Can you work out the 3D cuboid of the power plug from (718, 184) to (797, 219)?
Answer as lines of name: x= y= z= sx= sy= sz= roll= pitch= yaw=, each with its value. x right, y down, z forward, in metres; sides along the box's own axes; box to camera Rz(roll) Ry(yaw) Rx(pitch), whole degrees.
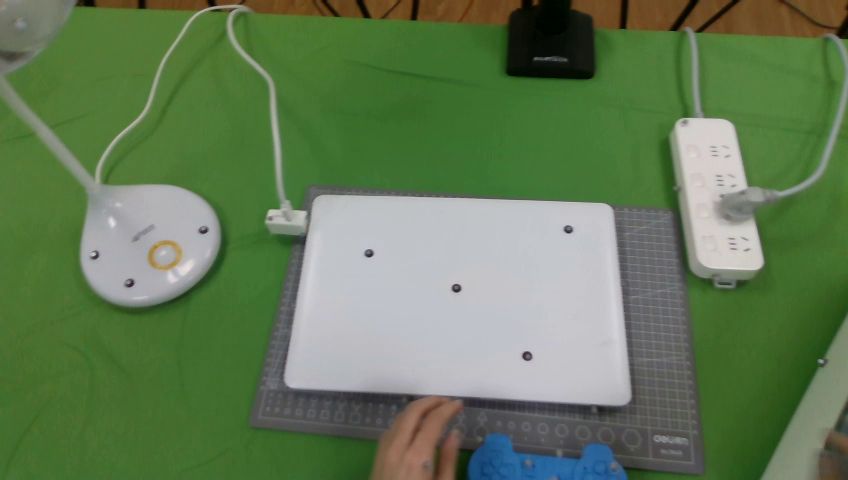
power plug: x=0.365 y=-0.036 z=0.672 sx=0.072 sy=0.053 sz=0.035 roll=13 pitch=62 yaw=8

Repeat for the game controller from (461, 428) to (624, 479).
game controller: x=0.109 y=0.228 z=0.558 sx=0.155 sy=0.052 sz=0.096 roll=5 pitch=60 yaw=5

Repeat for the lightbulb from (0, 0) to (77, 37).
lightbulb: x=-0.264 y=-0.179 z=0.374 sx=0.059 sy=0.059 sz=0.108 roll=-34 pitch=104 yaw=-15

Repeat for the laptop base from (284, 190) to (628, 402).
laptop base: x=0.037 y=0.054 z=0.671 sx=0.354 sy=0.023 sz=0.233 roll=2 pitch=65 yaw=3

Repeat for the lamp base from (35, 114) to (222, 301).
lamp base: x=-0.333 y=-0.045 z=0.649 sx=0.178 sy=0.182 sz=0.160 roll=29 pitch=66 yaw=20

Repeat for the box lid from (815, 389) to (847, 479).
box lid: x=0.491 y=0.114 z=0.454 sx=0.261 sy=0.015 sz=0.371 roll=35 pitch=69 yaw=19

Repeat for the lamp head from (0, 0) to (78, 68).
lamp head: x=-0.295 y=-0.185 z=0.378 sx=0.123 sy=0.112 sz=0.112 roll=31 pitch=65 yaw=-8

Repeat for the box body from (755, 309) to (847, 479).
box body: x=0.493 y=0.151 z=0.518 sx=0.252 sy=0.162 sz=0.363 roll=35 pitch=69 yaw=19

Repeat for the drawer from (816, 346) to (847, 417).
drawer: x=0.521 y=0.127 z=0.564 sx=0.193 sy=0.074 sz=0.211 roll=40 pitch=72 yaw=22

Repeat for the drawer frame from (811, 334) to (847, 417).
drawer frame: x=0.518 y=0.126 z=0.566 sx=0.200 sy=0.083 sz=0.213 roll=41 pitch=67 yaw=19

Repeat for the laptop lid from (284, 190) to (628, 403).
laptop lid: x=0.036 y=0.051 z=0.660 sx=0.356 sy=0.013 sz=0.240 roll=4 pitch=64 yaw=5

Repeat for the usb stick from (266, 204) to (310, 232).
usb stick: x=-0.151 y=-0.025 z=0.708 sx=0.059 sy=0.027 sz=0.021 roll=6 pitch=57 yaw=2

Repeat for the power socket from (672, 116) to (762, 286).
power socket: x=0.339 y=-0.055 z=0.709 sx=0.072 sy=0.033 sz=0.225 roll=4 pitch=62 yaw=3
